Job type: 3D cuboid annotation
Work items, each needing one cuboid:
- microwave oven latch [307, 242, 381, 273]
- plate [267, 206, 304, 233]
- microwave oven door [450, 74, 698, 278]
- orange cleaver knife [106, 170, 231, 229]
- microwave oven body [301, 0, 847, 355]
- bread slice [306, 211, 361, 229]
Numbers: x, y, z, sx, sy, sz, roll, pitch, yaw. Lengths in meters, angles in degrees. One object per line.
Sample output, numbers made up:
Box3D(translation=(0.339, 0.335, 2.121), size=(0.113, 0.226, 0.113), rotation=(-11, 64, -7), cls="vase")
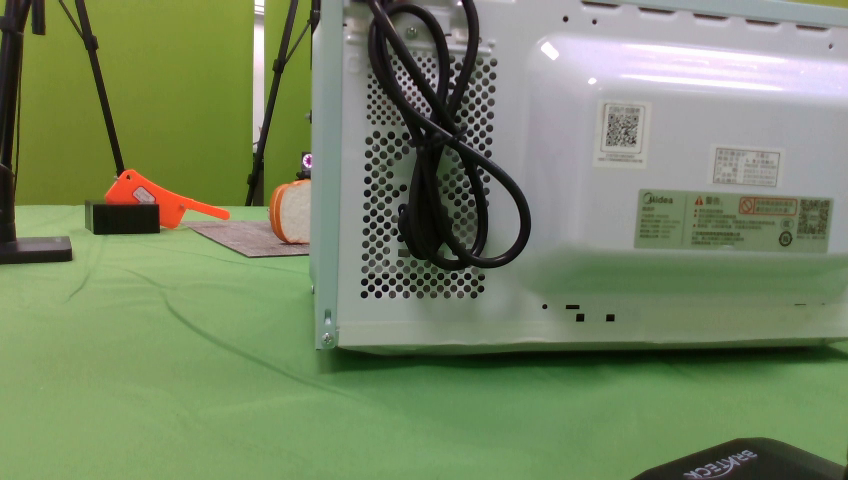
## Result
Box3D(translation=(-0.086, 0.019, 0.656), size=(0.079, 0.029, 0.030), rotation=(2, 7, -10), cls="microwave oven latch")
Box3D(translation=(-0.197, -0.039, 1.175), size=(0.208, 0.039, 0.207), rotation=(2, 7, 0), cls="plate")
Box3D(translation=(0.183, -0.094, 0.836), size=(0.354, 0.243, 0.039), rotation=(10, 10, 44), cls="microwave oven door")
Box3D(translation=(-0.458, -0.060, 1.097), size=(0.212, 0.077, 0.012), rotation=(23, -4, -38), cls="orange cleaver knife")
Box3D(translation=(0.120, -0.053, 0.535), size=(0.443, 0.260, 0.325), rotation=(2, 7, -11), cls="microwave oven body")
Box3D(translation=(-0.173, -0.041, 1.173), size=(0.107, 0.018, 0.134), rotation=(-2, 10, -8), cls="bread slice")
